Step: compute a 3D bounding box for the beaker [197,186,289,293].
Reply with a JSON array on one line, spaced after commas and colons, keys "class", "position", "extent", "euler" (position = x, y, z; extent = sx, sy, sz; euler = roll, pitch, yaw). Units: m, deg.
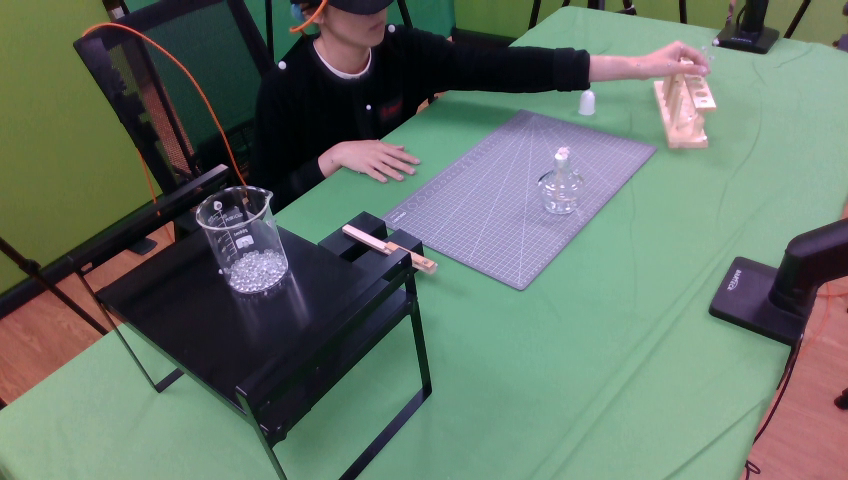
[{"class": "beaker", "position": [-0.192, 0.001, 0.666], "extent": [0.084, 0.101, 0.073], "euler": [-33, 47, -27]}]

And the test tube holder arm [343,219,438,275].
[{"class": "test tube holder arm", "position": [-0.054, 0.009, 0.899], "extent": [0.177, 0.013, 0.015], "euler": [26, 59, 30]}]

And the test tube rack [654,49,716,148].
[{"class": "test tube rack", "position": [0.502, -0.280, 1.176], "extent": [0.066, 0.085, 0.241], "euler": [1, 41, 11]}]

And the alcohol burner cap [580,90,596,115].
[{"class": "alcohol burner cap", "position": [0.338, -0.283, 1.238], "extent": [0.034, 0.048, 0.033], "euler": [-4, 41, 4]}]

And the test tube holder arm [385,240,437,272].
[{"class": "test tube holder arm", "position": [-0.020, 0.022, 0.872], "extent": [0.087, 0.010, 0.015], "euler": [26, 59, 31]}]

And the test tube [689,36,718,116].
[{"class": "test tube", "position": [0.508, -0.295, 1.101], "extent": [0.017, 0.151, 0.017], "euler": [0, 37, 1]}]

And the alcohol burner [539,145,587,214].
[{"class": "alcohol burner", "position": [0.226, -0.102, 0.986], "extent": [0.078, 0.119, 0.077], "euler": [-6, 41, 6]}]
